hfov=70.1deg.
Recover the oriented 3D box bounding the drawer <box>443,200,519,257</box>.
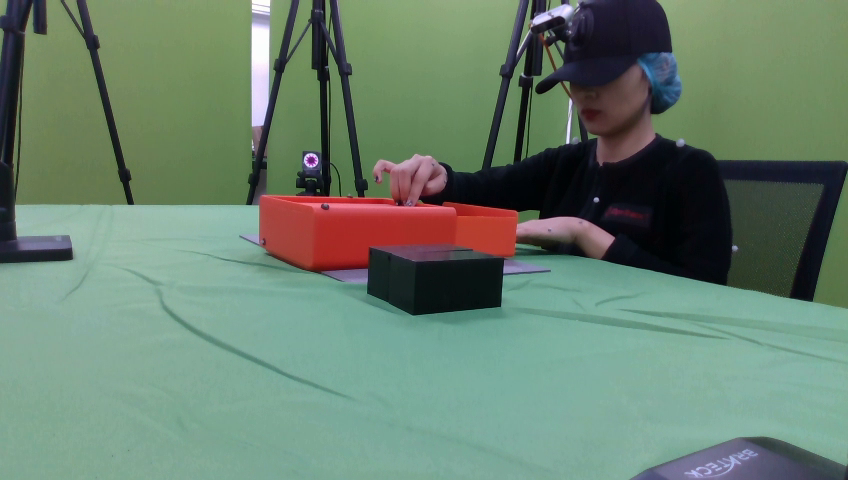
[{"bbox_3d":[0.001,-0.020,0.909,0.213,0.073,0.193,-2,9,-33],"label":"drawer"}]

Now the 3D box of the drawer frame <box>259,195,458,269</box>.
[{"bbox_3d":[-0.095,-0.018,0.845,0.215,0.082,0.200,-3,9,-34],"label":"drawer frame"}]

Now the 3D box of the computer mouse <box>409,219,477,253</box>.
[{"bbox_3d":[0.028,-0.007,0.917,0.063,0.041,0.116,5,10,-32],"label":"computer mouse"}]
